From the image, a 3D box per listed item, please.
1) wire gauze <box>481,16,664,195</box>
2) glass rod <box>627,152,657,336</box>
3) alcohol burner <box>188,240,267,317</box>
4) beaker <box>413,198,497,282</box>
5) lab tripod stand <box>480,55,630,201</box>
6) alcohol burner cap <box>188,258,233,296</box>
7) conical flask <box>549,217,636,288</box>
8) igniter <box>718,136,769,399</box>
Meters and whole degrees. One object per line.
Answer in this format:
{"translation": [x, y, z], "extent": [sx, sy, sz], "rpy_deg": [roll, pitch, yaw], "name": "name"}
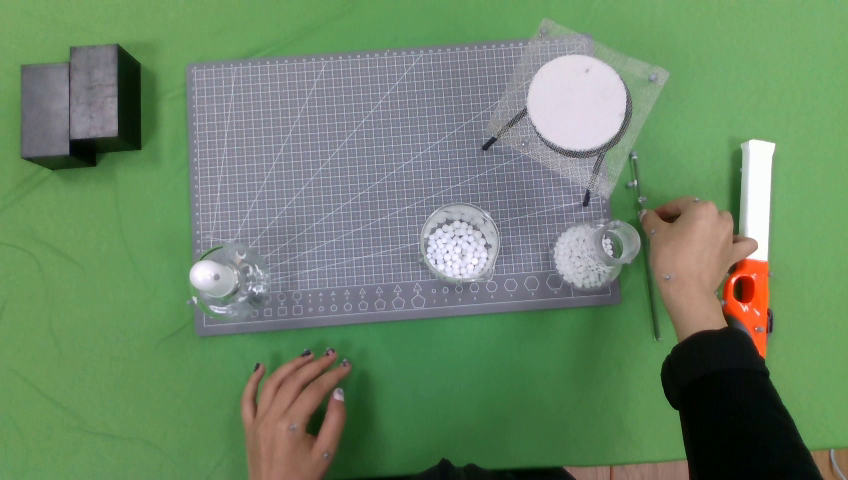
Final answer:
{"translation": [0.129, -0.120, 0.529], "extent": [0.125, 0.011, 0.121], "rpy_deg": [28, 87, 4], "name": "wire gauze"}
{"translation": [0.232, 0.003, 0.648], "extent": [0.008, 0.008, 0.199], "rpy_deg": [-5, 84, -1], "name": "glass rod"}
{"translation": [-0.197, 0.037, 0.590], "extent": [0.078, 0.119, 0.077], "rpy_deg": [0, 85, 2], "name": "alcohol burner"}
{"translation": [0.032, 0.007, 0.600], "extent": [0.074, 0.100, 0.084], "rpy_deg": [-40, 85, -4], "name": "beaker"}
{"translation": [0.133, -0.111, 0.595], "extent": [0.148, 0.132, 0.148], "rpy_deg": [0, 85, 2], "name": "lab tripod stand"}
{"translation": [-0.197, 0.031, 0.554], "extent": [0.034, 0.048, 0.033], "rpy_deg": [1, 77, -2], "name": "alcohol burner cap"}
{"translation": [0.168, 0.007, 0.588], "extent": [0.075, 0.122, 0.075], "rpy_deg": [0, 83, 0], "name": "conical flask"}
{"translation": [0.338, 0.028, 0.636], "extent": [0.057, 0.025, 0.276], "rpy_deg": [8, 84, -9], "name": "igniter"}
